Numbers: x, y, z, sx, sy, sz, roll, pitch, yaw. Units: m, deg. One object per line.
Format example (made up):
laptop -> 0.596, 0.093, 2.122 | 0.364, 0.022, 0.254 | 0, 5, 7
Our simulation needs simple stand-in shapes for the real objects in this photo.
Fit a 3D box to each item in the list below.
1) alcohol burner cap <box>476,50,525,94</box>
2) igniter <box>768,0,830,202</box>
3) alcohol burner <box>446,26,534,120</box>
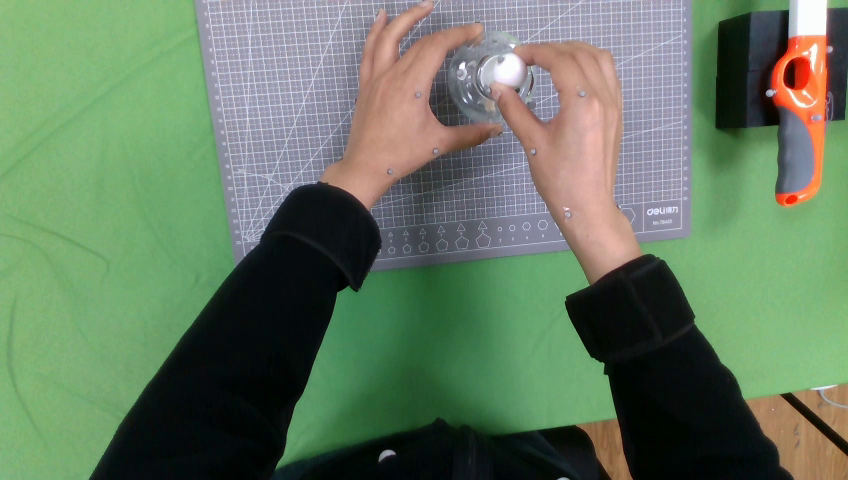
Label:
alcohol burner cap -> 0.062, -0.133, 0.478 | 0.034, 0.047, 0.034 | -2, 101, -8
igniter -> 0.335, -0.172, 0.538 | 0.057, 0.025, 0.277 | -3, 98, -6
alcohol burner -> 0.060, -0.140, 0.508 | 0.078, 0.118, 0.078 | -2, 101, -9
